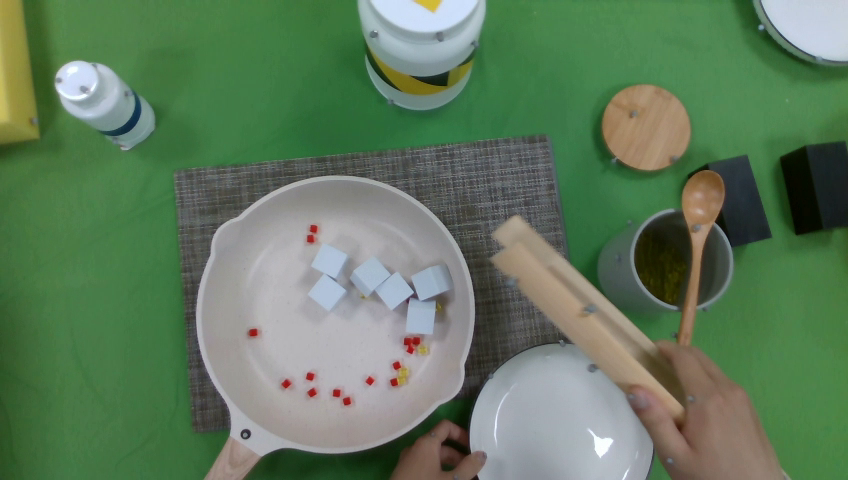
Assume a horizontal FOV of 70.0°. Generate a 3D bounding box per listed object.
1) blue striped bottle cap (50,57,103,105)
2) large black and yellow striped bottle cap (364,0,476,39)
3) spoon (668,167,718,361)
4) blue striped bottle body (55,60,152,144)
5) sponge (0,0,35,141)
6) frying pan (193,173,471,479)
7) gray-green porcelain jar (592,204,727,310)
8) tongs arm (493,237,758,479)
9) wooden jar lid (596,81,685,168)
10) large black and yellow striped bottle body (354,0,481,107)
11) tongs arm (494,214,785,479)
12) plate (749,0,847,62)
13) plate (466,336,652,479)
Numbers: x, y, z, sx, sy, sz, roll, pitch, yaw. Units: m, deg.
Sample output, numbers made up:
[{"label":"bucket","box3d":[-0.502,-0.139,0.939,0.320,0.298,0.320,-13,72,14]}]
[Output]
[{"label":"blue striped bottle cap","box3d":[-0.351,-0.161,0.612,0.044,0.020,0.044,0,84,-3]},{"label":"large black and yellow striped bottle cap","box3d":[-0.003,-0.250,0.577,0.115,0.019,0.114,0,84,-3]},{"label":"spoon","box3d":[0.260,0.024,0.599,0.042,0.021,0.193,9,86,-5]},{"label":"blue striped bottle body","box3d":[-0.352,-0.153,0.662,0.063,0.121,0.063,0,82,-2]},{"label":"sponge","box3d":[-0.534,-0.215,0.690,0.118,0.061,0.206,-12,84,-5]},{"label":"frying pan","box3d":[-0.153,0.157,0.639,0.306,0.103,0.486,34,74,3]},{"label":"gray-green porcelain jar","box3d":[0.251,0.024,0.669,0.106,0.127,0.105,0,82,-3]},{"label":"tongs arm","box3d":[0.192,0.126,0.470,0.026,0.050,0.386,-39,104,24]},{"label":"wooden jar lid","box3d":[0.264,-0.140,0.744,0.108,0.021,0.108,0,84,-3]},{"label":"large black and yellow striped bottle body","box3d":[-0.008,-0.237,0.660,0.131,0.184,0.130,0,82,-3]},{"label":"tongs arm","box3d":[0.195,0.115,0.491,0.028,0.028,0.390,-41,108,21]},{"label":"plate","box3d":[0.507,-0.322,0.769,0.209,0.038,0.208,0,83,-2]},{"label":"plate","box3d":[0.149,0.212,0.682,0.208,0.039,0.207,0,84,-4]}]
